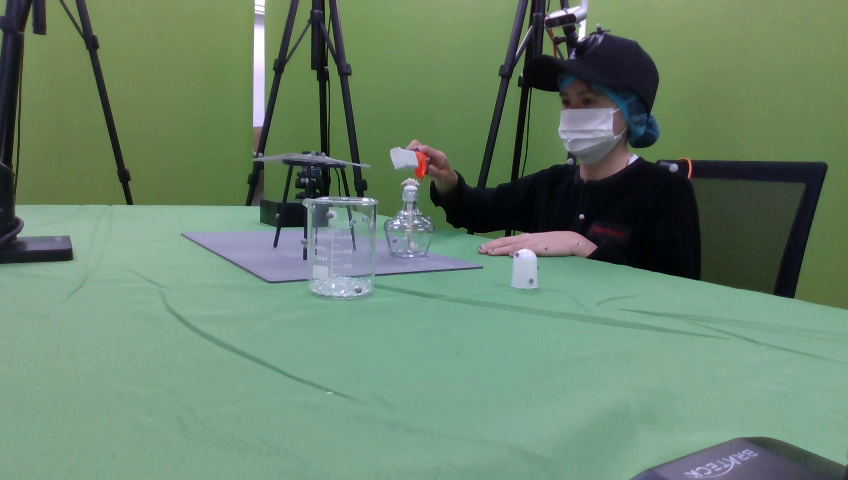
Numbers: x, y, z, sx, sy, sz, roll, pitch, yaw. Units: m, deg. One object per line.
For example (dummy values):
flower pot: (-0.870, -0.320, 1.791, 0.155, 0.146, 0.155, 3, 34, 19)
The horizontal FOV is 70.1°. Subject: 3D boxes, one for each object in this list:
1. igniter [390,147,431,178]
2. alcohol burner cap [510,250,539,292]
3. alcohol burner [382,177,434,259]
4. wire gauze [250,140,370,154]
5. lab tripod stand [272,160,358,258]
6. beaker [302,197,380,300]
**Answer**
igniter: (-0.018, -0.135, 1.040, 0.025, 0.057, 0.277, -14, 3, 10)
alcohol burner cap: (0.118, 0.036, 0.704, 0.034, 0.048, 0.034, 0, 6, 0)
alcohol burner: (-0.023, -0.033, 0.891, 0.078, 0.119, 0.078, 1, 6, 0)
wire gauze: (-0.163, -0.131, 0.867, 0.124, 0.011, 0.122, -1, 8, 32)
lab tripod stand: (-0.159, -0.048, 0.876, 0.148, 0.131, 0.148, 3, 5, 0)
beaker: (-0.089, 0.007, 0.625, 0.084, 0.100, 0.074, 4, 7, 16)
